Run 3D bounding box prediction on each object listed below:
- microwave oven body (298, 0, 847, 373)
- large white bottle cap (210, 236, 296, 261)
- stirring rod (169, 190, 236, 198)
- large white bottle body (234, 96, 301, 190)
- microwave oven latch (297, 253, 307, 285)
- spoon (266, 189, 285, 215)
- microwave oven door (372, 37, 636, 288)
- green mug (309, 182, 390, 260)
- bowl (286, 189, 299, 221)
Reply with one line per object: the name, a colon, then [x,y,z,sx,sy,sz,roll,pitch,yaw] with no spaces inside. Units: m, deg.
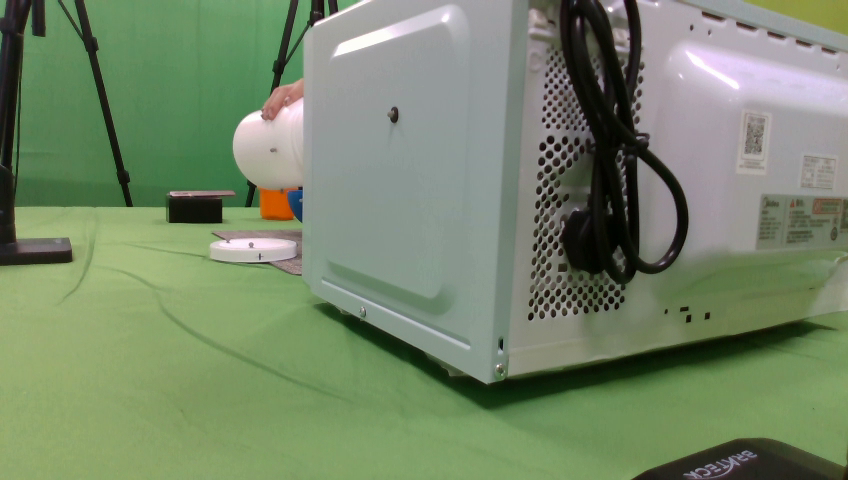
microwave oven body: [0.151,-0.055,0.543,0.444,0.260,0.324,-1,8,-33]
large white bottle cap: [-0.235,0.011,0.839,0.115,0.018,0.115,-1,10,0]
stirring rod: [-0.465,-0.098,1.283,0.014,0.006,0.177,42,21,17]
large white bottle body: [-0.190,-0.147,0.920,0.131,0.130,0.183,-4,2,-43]
microwave oven latch: [-0.082,0.027,0.582,0.079,0.029,0.030,-1,7,-32]
spoon: [-0.334,-0.128,1.423,0.041,0.193,0.022,0,-37,7]
microwave oven door: [0.110,-0.080,0.687,0.358,0.243,0.039,-2,9,-33]
green mug: [-0.102,-0.029,0.864,0.126,0.105,0.092,-4,8,-40]
bowl: [-0.179,-0.051,1.115,0.151,0.077,0.151,3,8,0]
